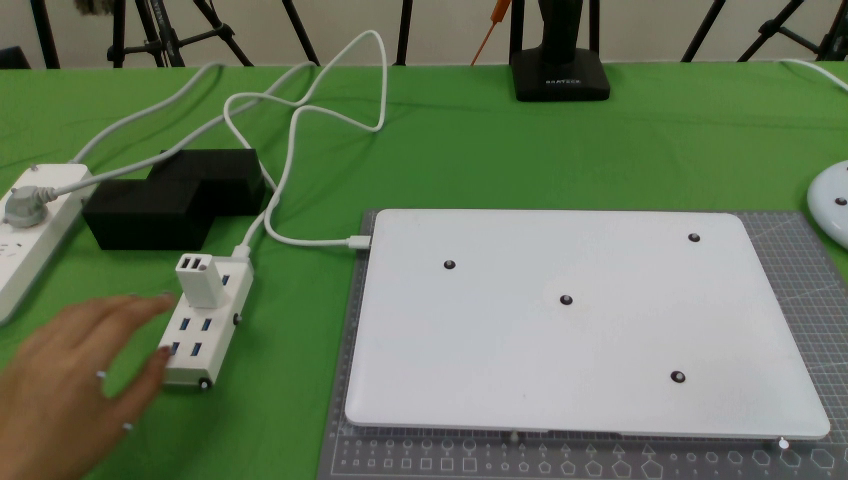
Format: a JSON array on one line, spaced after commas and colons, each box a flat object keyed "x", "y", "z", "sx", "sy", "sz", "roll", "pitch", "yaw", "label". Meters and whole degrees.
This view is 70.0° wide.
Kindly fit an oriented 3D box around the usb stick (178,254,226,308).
[{"x": -0.184, "y": 0.040, "z": 0.511, "sx": 0.027, "sy": 0.060, "sz": 0.021, "roll": 0, "pitch": 43, "yaw": 4, "label": "usb stick"}]

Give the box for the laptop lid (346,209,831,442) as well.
[{"x": 0.122, "y": 0.056, "z": 0.514, "sx": 0.356, "sy": 0.013, "sz": 0.239, "roll": 2, "pitch": 46, "yaw": 4, "label": "laptop lid"}]

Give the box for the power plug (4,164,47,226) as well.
[{"x": -0.393, "y": -0.039, "z": 0.605, "sx": 0.035, "sy": 0.053, "sz": 0.072, "roll": -3, "pitch": 36, "yaw": -15, "label": "power plug"}]

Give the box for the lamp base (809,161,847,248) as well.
[{"x": 0.472, "y": -0.088, "z": 0.552, "sx": 0.159, "sy": 0.182, "sz": 0.179, "roll": 23, "pitch": 47, "yaw": 24, "label": "lamp base"}]

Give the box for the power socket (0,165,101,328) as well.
[{"x": -0.397, "y": -0.002, "z": 0.597, "sx": 0.072, "sy": 0.033, "sz": 0.224, "roll": 2, "pitch": 43, "yaw": 2, "label": "power socket"}]

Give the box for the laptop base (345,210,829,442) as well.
[{"x": 0.122, "y": 0.062, "z": 0.524, "sx": 0.354, "sy": 0.023, "sz": 0.233, "roll": 1, "pitch": 47, "yaw": 3, "label": "laptop base"}]

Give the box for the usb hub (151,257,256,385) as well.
[{"x": -0.188, "y": 0.066, "z": 0.526, "sx": 0.049, "sy": 0.025, "sz": 0.124, "roll": 1, "pitch": 44, "yaw": 5, "label": "usb hub"}]
